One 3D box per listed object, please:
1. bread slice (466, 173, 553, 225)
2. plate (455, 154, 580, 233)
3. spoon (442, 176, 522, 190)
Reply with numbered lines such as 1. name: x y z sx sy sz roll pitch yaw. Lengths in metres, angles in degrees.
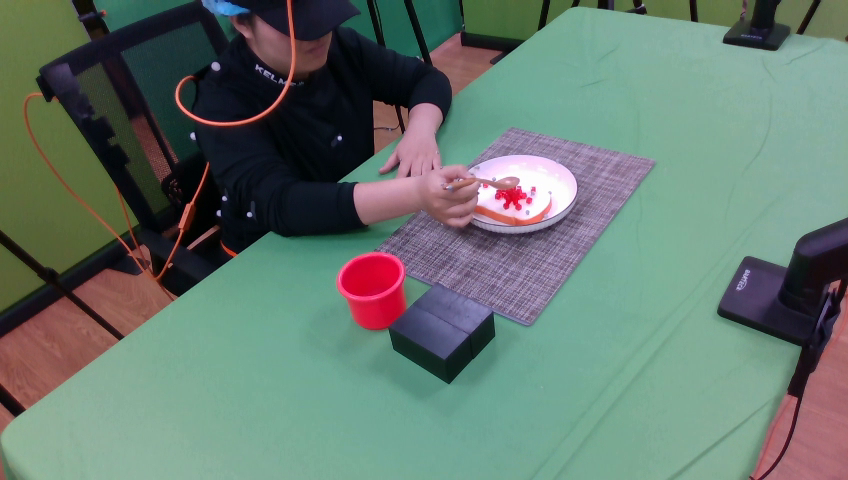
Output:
1. bread slice: 0.152 -0.068 1.022 0.130 0.019 0.105 23 50 33
2. plate: 0.159 -0.076 1.028 0.209 0.038 0.208 -5 40 5
3. spoon: 0.089 -0.088 0.930 0.041 0.021 0.195 14 13 39
